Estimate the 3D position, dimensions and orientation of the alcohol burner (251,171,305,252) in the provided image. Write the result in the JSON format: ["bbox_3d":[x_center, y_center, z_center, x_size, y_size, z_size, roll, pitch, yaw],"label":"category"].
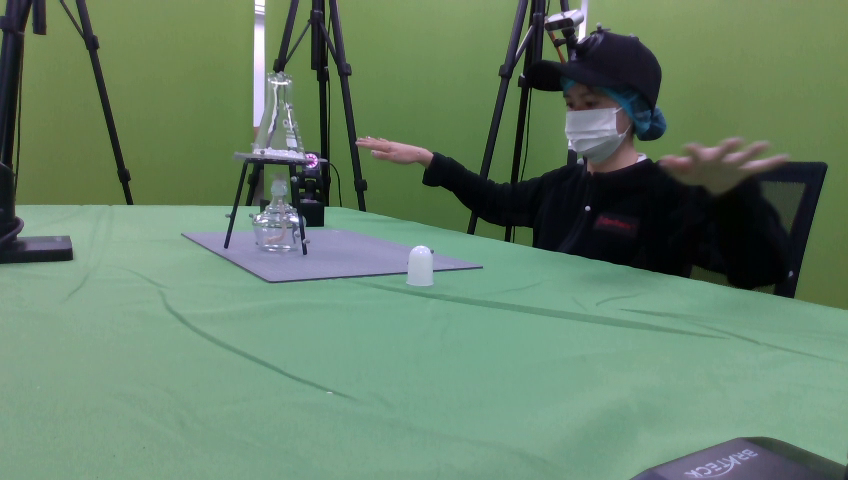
[{"bbox_3d":[-0.214,-0.042,0.888,0.078,0.119,0.078,2,9,0],"label":"alcohol burner"}]

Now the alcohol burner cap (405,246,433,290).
[{"bbox_3d":[-0.005,0.031,0.698,0.034,0.048,0.034,3,8,0],"label":"alcohol burner cap"}]

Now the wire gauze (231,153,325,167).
[{"bbox_3d":[-0.215,-0.117,0.882,0.125,0.011,0.121,3,7,-19],"label":"wire gauze"}]

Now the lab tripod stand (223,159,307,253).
[{"bbox_3d":[-0.220,-0.053,0.896,0.148,0.131,0.148,1,6,0],"label":"lab tripod stand"}]

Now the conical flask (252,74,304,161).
[{"bbox_3d":[-0.211,-0.177,0.879,0.075,0.122,0.075,3,6,0],"label":"conical flask"}]
